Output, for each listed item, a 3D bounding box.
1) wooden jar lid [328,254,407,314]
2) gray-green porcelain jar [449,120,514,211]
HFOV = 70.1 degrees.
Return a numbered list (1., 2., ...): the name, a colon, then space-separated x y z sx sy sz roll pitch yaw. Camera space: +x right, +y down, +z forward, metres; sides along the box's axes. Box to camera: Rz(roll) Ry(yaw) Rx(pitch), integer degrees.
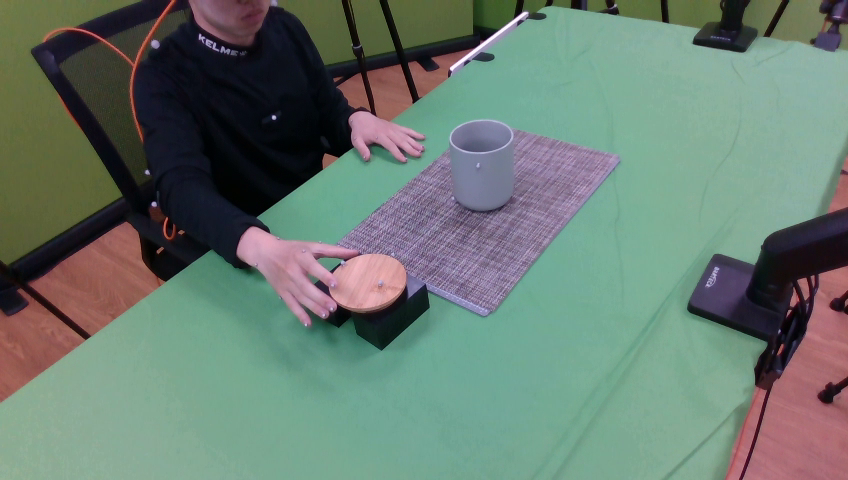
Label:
1. wooden jar lid: -0.077 0.062 0.832 0.108 0.021 0.108 -4 39 4
2. gray-green porcelain jar: 0.098 -0.120 1.009 0.106 0.127 0.105 -4 41 4
